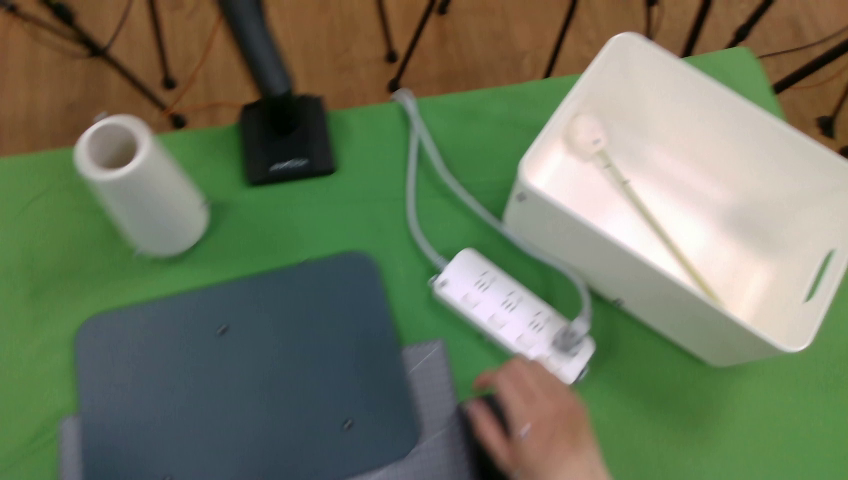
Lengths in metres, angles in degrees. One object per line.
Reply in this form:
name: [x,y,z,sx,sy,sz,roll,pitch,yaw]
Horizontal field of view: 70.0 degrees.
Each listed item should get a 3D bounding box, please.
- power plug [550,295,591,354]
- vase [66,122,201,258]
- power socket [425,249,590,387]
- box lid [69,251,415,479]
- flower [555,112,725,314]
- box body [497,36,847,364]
power plug: [0.184,0.108,0.739,0.072,0.053,0.035,-39,75,-22]
vase: [-0.324,-0.053,0.689,0.098,0.201,0.097,2,67,-5]
power socket: [0.105,0.096,0.761,0.226,0.033,0.072,36,70,9]
box lid: [-0.212,0.169,0.716,0.372,0.015,0.261,-14,71,-10]
flower: [0.303,-0.029,0.828,0.044,0.038,0.360,-35,80,-4]
box body: [0.300,-0.042,0.760,0.363,0.161,0.253,33,70,7]
